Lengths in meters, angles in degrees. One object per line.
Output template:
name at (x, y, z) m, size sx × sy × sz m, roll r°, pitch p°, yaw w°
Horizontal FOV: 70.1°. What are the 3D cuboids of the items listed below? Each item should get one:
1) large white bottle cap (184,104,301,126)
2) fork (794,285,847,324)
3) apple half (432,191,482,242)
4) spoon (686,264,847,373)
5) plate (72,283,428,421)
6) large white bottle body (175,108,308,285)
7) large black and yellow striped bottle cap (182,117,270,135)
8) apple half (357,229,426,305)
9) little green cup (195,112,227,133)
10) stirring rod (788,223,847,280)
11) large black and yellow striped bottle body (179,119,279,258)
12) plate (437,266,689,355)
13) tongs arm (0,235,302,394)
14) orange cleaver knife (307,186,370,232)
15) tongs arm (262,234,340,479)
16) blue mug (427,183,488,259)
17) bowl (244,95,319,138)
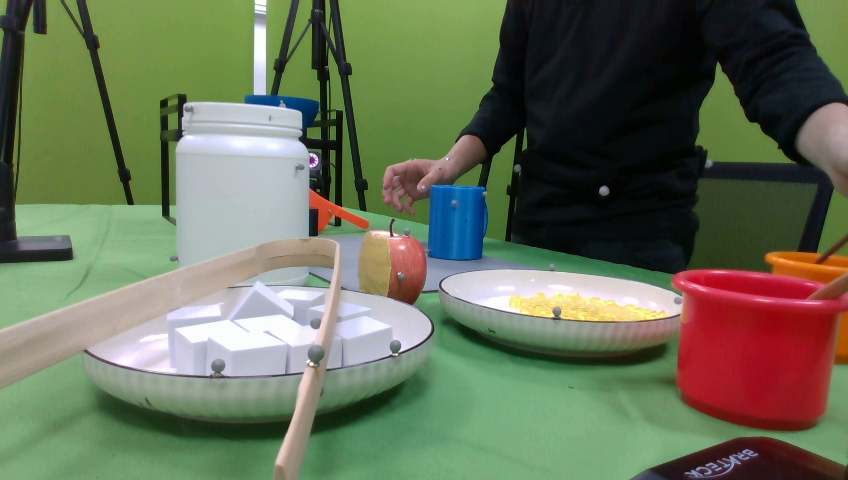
large white bottle cap at (-0.184, -0.126, 0.618) m, size 0.115 × 0.018 × 0.115 m, roll 2°, pitch 8°, yaw 0°
fork at (0.332, 0.018, 0.443) m, size 0.028 × 0.018 × 0.207 m, roll -2°, pitch -36°, yaw -15°
apple half at (0.049, -0.037, 0.906) m, size 0.081 × 0.081 × 0.033 m, roll 2°, pitch 15°, yaw -2°
spoon at (0.214, 0.032, 0.328) m, size 0.042 × 0.021 × 0.193 m, roll -3°, pitch -35°, yaw -26°
plate at (-0.102, 0.066, 0.381) m, size 0.208 × 0.039 × 0.207 m, roll 2°, pitch 7°, yaw 0°
large white bottle body at (-0.188, -0.042, 0.630) m, size 0.131 × 0.184 × 0.130 m, roll 2°, pitch 8°, yaw 0°
large black and yellow striped bottle cap at (-0.272, -0.156, 0.833) m, size 0.115 × 0.019 × 0.115 m, roll 1°, pitch 7°, yaw 0°
apple half at (-0.026, 0.028, 0.570) m, size 0.053 × 0.074 × 0.080 m, roll 3°, pitch 2°, yaw -28°
little green cup at (-0.412, -0.227, 1.171) m, size 0.061 × 0.038 × 0.061 m, roll 3°, pitch 8°, yaw 0°
stirring rod at (0.346, -0.027, 0.465) m, size 0.006 × 0.176 × 0.014 m, roll 44°, pitch 44°, yaw 20°
large black and yellow striped bottle body at (-0.271, -0.074, 0.846) m, size 0.131 × 0.184 × 0.130 m, roll 0°, pitch 9°, yaw 0°
plate at (0.114, 0.057, 0.518) m, size 0.209 × 0.038 × 0.209 m, roll 3°, pitch 7°, yaw 0°
tongs arm at (-0.157, 0.038, 0.351) m, size 0.028 × 0.028 × 0.388 m, roll -3°, pitch 8°, yaw 12°
orange cleaver knife at (-0.197, -0.056, 1.140) m, size 0.212 × 0.077 × 0.012 m, roll 29°, pitch 0°, yaw -34°
tongs arm at (-0.074, 0.039, 0.349) m, size 0.051 × 0.026 × 0.384 m, roll -2°, pitch 10°, yaw -3°
blue mug at (0.059, -0.031, 0.907) m, size 0.082 × 0.106 × 0.117 m, roll 9°, pitch 10°, yaw 42°
bowl at (-0.293, -0.251, 1.249) m, size 0.151 × 0.077 × 0.151 m, roll 2°, pitch 7°, yaw 0°
